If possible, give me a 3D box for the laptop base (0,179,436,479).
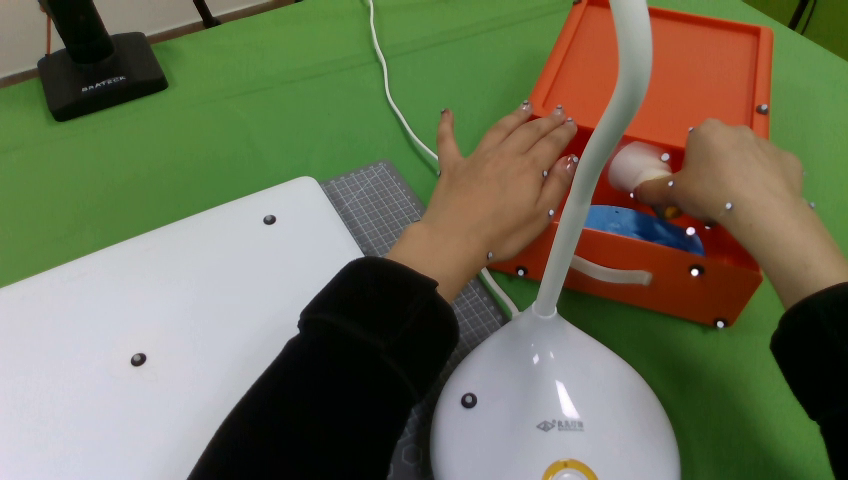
[{"bbox_3d":[-0.198,0.092,0.438,0.355,0.023,0.233,-24,57,-18],"label":"laptop base"}]

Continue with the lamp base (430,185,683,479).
[{"bbox_3d":[0.081,0.072,0.342,0.161,0.182,0.177,-9,48,-8],"label":"lamp base"}]

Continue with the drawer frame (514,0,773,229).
[{"bbox_3d":[0.210,-0.131,0.575,0.201,0.083,0.212,15,51,14],"label":"drawer frame"}]

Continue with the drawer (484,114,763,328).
[{"bbox_3d":[0.172,-0.048,0.511,0.194,0.074,0.210,14,51,14],"label":"drawer"}]

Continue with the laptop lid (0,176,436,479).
[{"bbox_3d":[-0.197,0.086,0.427,0.357,0.013,0.239,-23,56,-17],"label":"laptop lid"}]

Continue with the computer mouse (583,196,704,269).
[{"bbox_3d":[0.165,0.002,0.479,0.117,0.041,0.062,17,45,4],"label":"computer mouse"}]

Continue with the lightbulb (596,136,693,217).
[{"bbox_3d":[0.188,-0.051,0.510,0.059,0.060,0.106,-14,34,-10],"label":"lightbulb"}]
